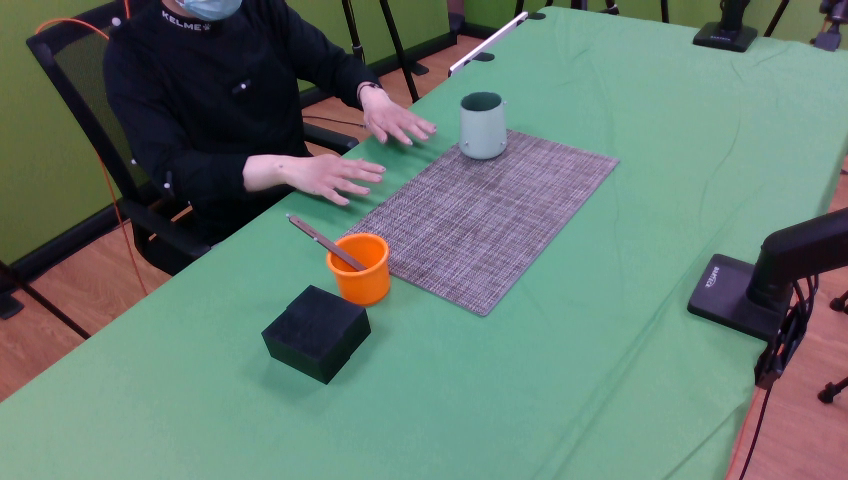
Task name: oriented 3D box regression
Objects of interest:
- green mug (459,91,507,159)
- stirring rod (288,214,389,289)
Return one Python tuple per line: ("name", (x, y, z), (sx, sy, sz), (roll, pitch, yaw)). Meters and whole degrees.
("green mug", (0.116, -0.225, 1.144), (0.092, 0.105, 0.125), (14, 45, 23))
("stirring rod", (-0.122, 0.018, 0.877), (0.177, 0.006, 0.014), (37, 47, -13))
